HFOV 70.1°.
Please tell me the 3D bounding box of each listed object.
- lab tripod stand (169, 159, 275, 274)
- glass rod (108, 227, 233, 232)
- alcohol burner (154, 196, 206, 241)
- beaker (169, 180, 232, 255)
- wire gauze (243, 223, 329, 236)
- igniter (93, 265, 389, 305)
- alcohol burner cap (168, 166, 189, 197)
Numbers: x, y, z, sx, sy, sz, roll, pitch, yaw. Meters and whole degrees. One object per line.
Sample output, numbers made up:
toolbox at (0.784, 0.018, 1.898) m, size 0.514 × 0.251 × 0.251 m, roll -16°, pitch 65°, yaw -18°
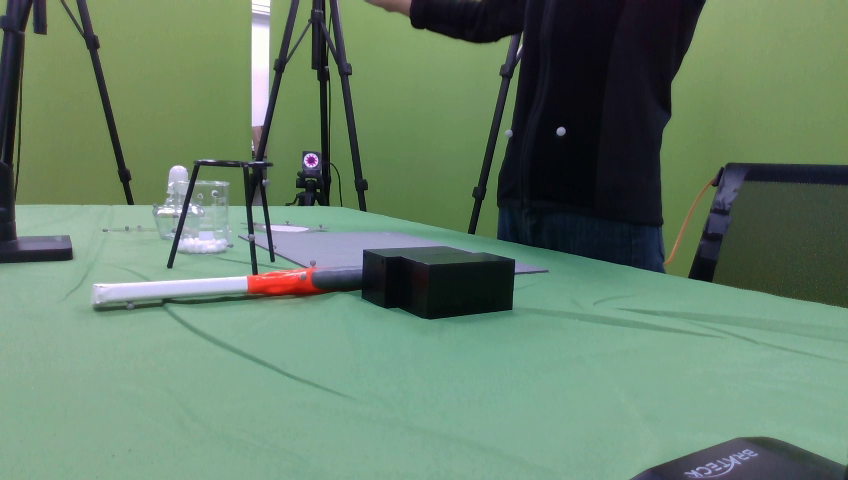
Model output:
lab tripod stand at (-0.230, -0.030, 0.724) m, size 0.148 × 0.131 × 0.148 m, roll 1°, pitch 9°, yaw 0°
glass rod at (-0.437, -0.019, 1.054) m, size 0.201 × 0.008 × 0.008 m, roll -1°, pitch 8°, yaw -26°
alcohol burner at (-0.393, -0.059, 0.974) m, size 0.078 × 0.119 × 0.078 m, roll 1°, pitch 8°, yaw 0°
beaker at (-0.313, -0.032, 0.850) m, size 0.084 × 0.100 × 0.073 m, roll -5°, pitch 10°, yaw -41°
wire gauze at (-0.266, -0.024, 1.156) m, size 0.124 × 0.011 × 0.122 m, roll 12°, pitch 12°, yaw 40°
igniter at (-0.164, 0.042, 0.589) m, size 0.278 × 0.025 × 0.057 m, roll -2°, pitch -7°, yaw -31°
alcohol burner cap at (-0.392, -0.095, 0.970) m, size 0.034 × 0.048 × 0.034 m, roll 7°, pitch 7°, yaw -1°
